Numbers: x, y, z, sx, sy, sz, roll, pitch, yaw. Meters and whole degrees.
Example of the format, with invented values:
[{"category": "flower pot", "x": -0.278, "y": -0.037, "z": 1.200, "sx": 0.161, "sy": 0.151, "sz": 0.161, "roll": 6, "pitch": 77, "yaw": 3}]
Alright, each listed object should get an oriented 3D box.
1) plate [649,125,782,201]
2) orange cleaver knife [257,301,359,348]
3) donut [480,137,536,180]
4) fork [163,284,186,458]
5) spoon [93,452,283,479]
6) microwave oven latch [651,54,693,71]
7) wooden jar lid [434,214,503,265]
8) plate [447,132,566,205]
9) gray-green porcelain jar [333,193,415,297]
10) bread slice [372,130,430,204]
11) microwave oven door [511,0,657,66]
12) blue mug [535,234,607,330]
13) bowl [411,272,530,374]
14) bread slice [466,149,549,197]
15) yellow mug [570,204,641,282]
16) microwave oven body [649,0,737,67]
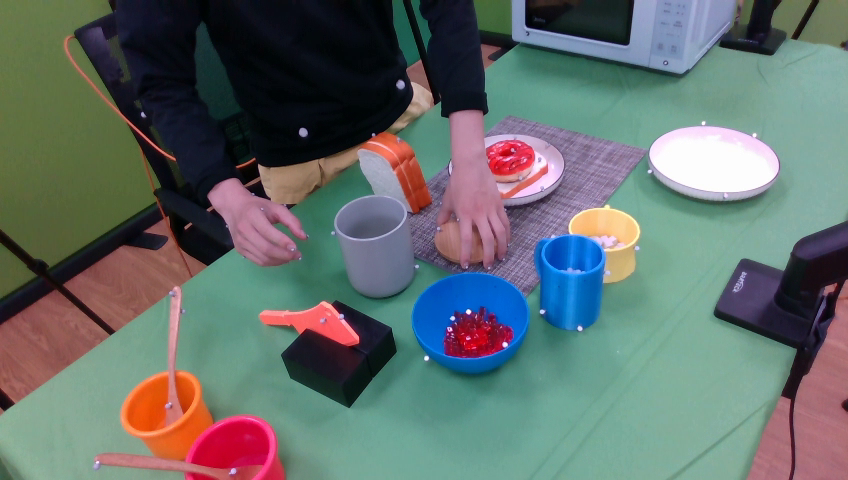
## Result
[{"category": "plate", "x": 0.493, "y": -0.127, "z": 1.036, "sx": 0.207, "sy": 0.039, "sz": 0.206, "roll": -4, "pitch": 41, "yaw": 4}, {"category": "orange cleaver knife", "x": -0.160, "y": 0.115, "z": 0.813, "sx": 0.210, "sy": 0.077, "sz": 0.012, "roll": -9, "pitch": 29, "yaw": 48}, {"category": "donut", "x": 0.145, "y": -0.144, "z": 1.056, "sx": 0.099, "sy": 0.048, "sz": 0.098, "roll": -5, "pitch": 42, "yaw": 5}, {"category": "fork", "x": -0.302, "y": 0.157, "z": 0.733, "sx": 0.028, "sy": 0.019, "sz": 0.207, "roll": -3, "pitch": 84, "yaw": 15}, {"category": "spoon", "x": -0.240, "y": 0.239, "z": 0.632, "sx": 0.195, "sy": 0.021, "sz": 0.041, "roll": 26, "pitch": 34, "yaw": -32}, {"category": "microwave oven latch", "x": 0.532, "y": -0.386, "z": 1.301, "sx": 0.078, "sy": 0.029, "sz": 0.030, "roll": 26, "pitch": 51, "yaw": 33}, {"category": "wooden jar lid", "x": 0.070, "y": 0.000, "z": 0.954, "sx": 0.108, "sy": 0.021, "sz": 0.108, "roll": -3, "pitch": 42, "yaw": 3}, {"category": "plate", "x": 0.146, "y": -0.124, "z": 1.076, "sx": 0.209, "sy": 0.038, "sz": 0.208, "roll": -4, "pitch": 41, "yaw": 4}, {"category": "gray-green porcelain jar", "x": -0.070, "y": 0.012, "z": 0.887, "sx": 0.106, "sy": 0.127, "sz": 0.105, "roll": -4, "pitch": 41, "yaw": 4}, {"category": "bread slice", "x": -0.042, "y": -0.127, "z": 1.038, "sx": 0.106, "sy": 0.135, "sz": 0.018, "roll": 30, "pitch": 62, "yaw": 33}, {"category": "microwave oven door", "x": 0.351, "y": -0.539, "z": 1.348, "sx": 0.353, "sy": 0.245, "sz": 0.039, "roll": 24, "pitch": 50, "yaw": 31}, {"category": "blue mug", "x": 0.191, "y": 0.048, "z": 0.824, "sx": 0.082, "sy": 0.106, "sz": 0.115, "roll": -26, "pitch": 44, "yaw": -20}, {"category": "bowl", "x": 0.062, "y": 0.120, "z": 0.780, "sx": 0.151, "sy": 0.077, "sz": 0.150, "roll": -4, "pitch": 40, "yaw": 4}, {"category": "bread slice", "x": 0.156, "y": -0.128, "z": 1.085, "sx": 0.132, "sy": 0.019, "sz": 0.104, "roll": -34, "pitch": 48, "yaw": -23}, {"category": "yellow mug", "x": 0.268, "y": -0.005, "z": 0.904, "sx": 0.099, "sy": 0.064, "sz": 0.130, "roll": 7, "pitch": 41, "yaw": 15}, {"category": "microwave oven body", "x": 0.475, "y": -0.602, "z": 1.411, "sx": 0.438, "sy": 0.261, "sz": 0.327, "roll": 23, "pitch": 50, "yaw": 32}]
